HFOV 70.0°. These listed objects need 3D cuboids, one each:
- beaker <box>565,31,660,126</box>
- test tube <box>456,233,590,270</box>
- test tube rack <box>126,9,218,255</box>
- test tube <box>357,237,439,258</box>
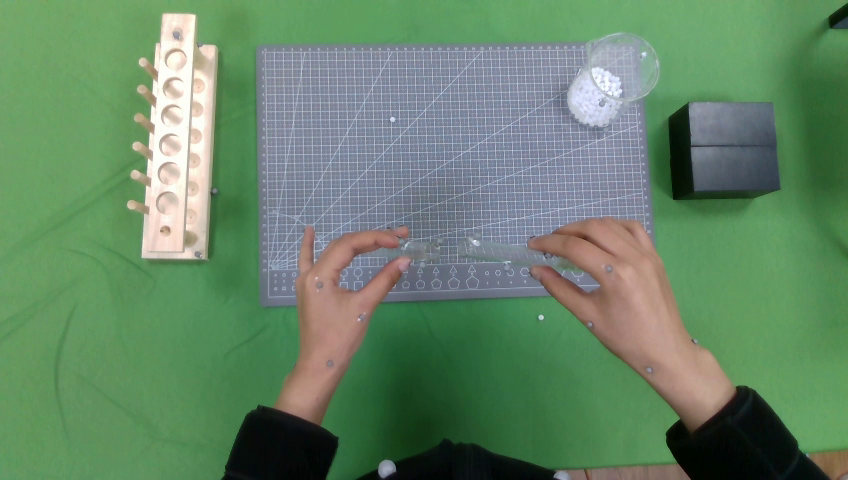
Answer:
[{"bbox_3d":[0.199,-0.174,0.667,0.084,0.100,0.074,36,82,2],"label":"beaker"},{"bbox_3d":[0.086,0.011,0.497,0.151,0.017,0.017,9,81,-38],"label":"test tube"},{"bbox_3d":[-0.268,-0.108,0.637,0.067,0.085,0.241,1,84,-3],"label":"test tube rack"},{"bbox_3d":[-0.028,0.006,0.544,0.017,0.149,0.017,-1,91,-27],"label":"test tube"}]
